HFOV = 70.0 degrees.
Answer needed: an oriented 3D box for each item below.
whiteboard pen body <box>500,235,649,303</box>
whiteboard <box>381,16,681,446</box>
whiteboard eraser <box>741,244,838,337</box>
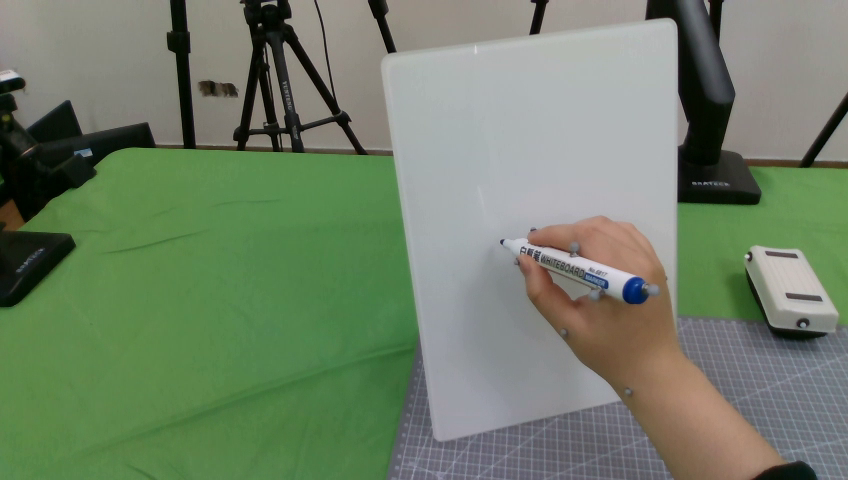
[{"bbox_3d":[0.085,0.013,0.380,0.017,0.017,0.139,-19,19,-20],"label":"whiteboard pen body"},{"bbox_3d":[0.083,-0.015,0.521,0.217,0.307,0.143,-10,18,-8],"label":"whiteboard"},{"bbox_3d":[0.352,0.048,0.591,0.055,0.042,0.112,3,33,11],"label":"whiteboard eraser"}]
